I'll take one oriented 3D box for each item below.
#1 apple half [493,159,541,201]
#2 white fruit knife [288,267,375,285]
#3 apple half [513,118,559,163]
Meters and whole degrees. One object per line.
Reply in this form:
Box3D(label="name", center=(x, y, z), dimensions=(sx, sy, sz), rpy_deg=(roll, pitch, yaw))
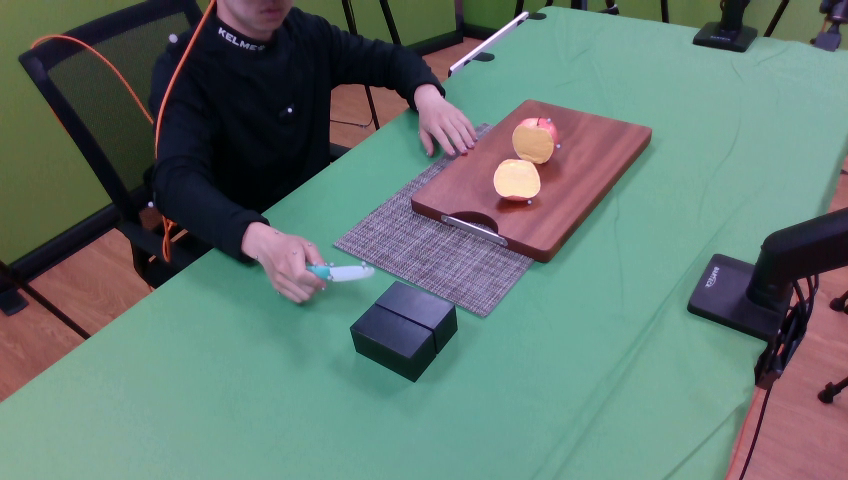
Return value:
Box3D(label="apple half", center=(0.153, -0.095, 0.999), dimensions=(0.081, 0.033, 0.081), rpy_deg=(-1, 64, 2))
Box3D(label="white fruit knife", center=(-0.130, 0.047, 0.826), dimensions=(0.206, 0.027, 0.016), rpy_deg=(-7, 26, 47))
Box3D(label="apple half", center=(0.202, -0.180, 1.066), dimensions=(0.080, 0.075, 0.053), rpy_deg=(14, 41, 29))
